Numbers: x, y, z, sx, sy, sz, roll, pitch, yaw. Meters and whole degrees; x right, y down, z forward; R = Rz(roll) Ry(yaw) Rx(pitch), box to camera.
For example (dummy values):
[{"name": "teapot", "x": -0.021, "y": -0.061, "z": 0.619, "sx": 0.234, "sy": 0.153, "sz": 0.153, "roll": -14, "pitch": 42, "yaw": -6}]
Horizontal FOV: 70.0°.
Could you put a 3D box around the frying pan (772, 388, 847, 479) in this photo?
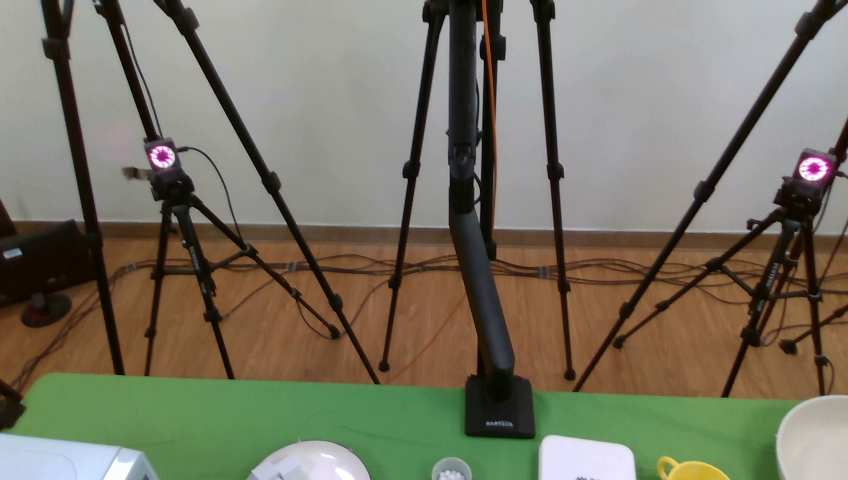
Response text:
[{"name": "frying pan", "x": 0.710, "y": 0.407, "z": 0.824, "sx": 0.307, "sy": 0.103, "sz": 0.482, "roll": -16, "pitch": 34, "yaw": -15}]

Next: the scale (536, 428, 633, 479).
[{"name": "scale", "x": 0.245, "y": 0.386, "z": 0.924, "sx": 0.148, "sy": 0.032, "sz": 0.199, "roll": 4, "pitch": 40, "yaw": 8}]

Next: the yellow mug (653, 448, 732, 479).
[{"name": "yellow mug", "x": 0.394, "y": 0.369, "z": 0.911, "sx": 0.100, "sy": 0.064, "sz": 0.129, "roll": -20, "pitch": 42, "yaw": -20}]

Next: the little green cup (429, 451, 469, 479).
[{"name": "little green cup", "x": 0.040, "y": 0.367, "z": 0.950, "sx": 0.061, "sy": 0.039, "sz": 0.061, "roll": -1, "pitch": 39, "yaw": 1}]

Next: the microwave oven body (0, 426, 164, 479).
[{"name": "microwave oven body", "x": -0.527, "y": 0.464, "z": 0.672, "sx": 0.326, "sy": 0.262, "sz": 0.438, "roll": 4, "pitch": 41, "yaw": 6}]

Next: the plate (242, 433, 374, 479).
[{"name": "plate", "x": -0.179, "y": 0.395, "z": 0.925, "sx": 0.208, "sy": 0.039, "sz": 0.205, "roll": -1, "pitch": 39, "yaw": 1}]
